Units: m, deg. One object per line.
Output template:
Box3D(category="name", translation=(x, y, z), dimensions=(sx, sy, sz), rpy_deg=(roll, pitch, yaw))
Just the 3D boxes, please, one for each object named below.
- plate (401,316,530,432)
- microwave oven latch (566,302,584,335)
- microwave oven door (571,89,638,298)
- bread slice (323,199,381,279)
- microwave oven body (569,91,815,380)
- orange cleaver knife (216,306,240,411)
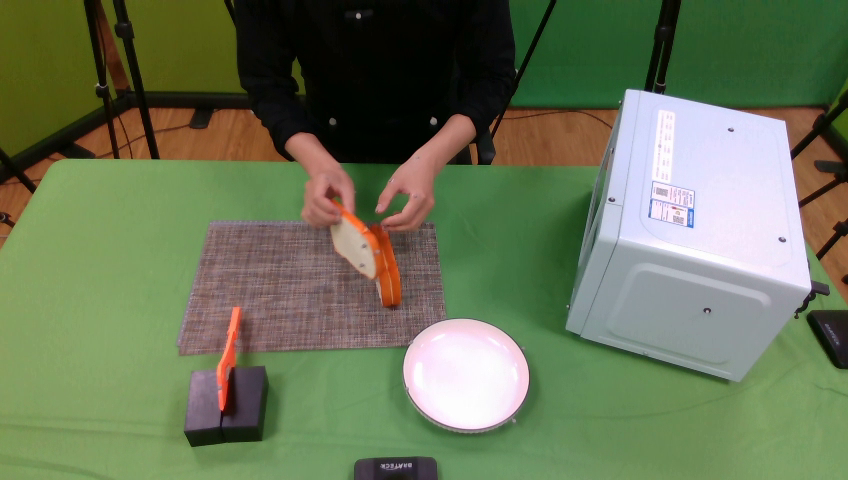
Box3D(category="plate", translation=(0.066, 0.217, 0.982), dimensions=(0.208, 0.039, 0.206), rpy_deg=(2, 46, -2))
Box3D(category="microwave oven latch", translation=(0.268, 0.126, 1.059), dimensions=(0.030, 0.029, 0.079), rpy_deg=(16, 46, 12))
Box3D(category="microwave oven door", translation=(0.343, -0.091, 1.132), dimensions=(0.039, 0.245, 0.354), rpy_deg=(15, 47, 10))
Box3D(category="bread slice", translation=(-0.114, 0.001, 0.974), dimensions=(0.018, 0.107, 0.133), rpy_deg=(-30, 43, -27))
Box3D(category="microwave oven body", translation=(0.468, -0.022, 1.082), dimensions=(0.325, 0.261, 0.440), rpy_deg=(15, 46, 11))
Box3D(category="orange cleaver knife", translation=(-0.307, 0.180, 0.957), dimensions=(0.012, 0.077, 0.210), rpy_deg=(-2, 25, -8))
